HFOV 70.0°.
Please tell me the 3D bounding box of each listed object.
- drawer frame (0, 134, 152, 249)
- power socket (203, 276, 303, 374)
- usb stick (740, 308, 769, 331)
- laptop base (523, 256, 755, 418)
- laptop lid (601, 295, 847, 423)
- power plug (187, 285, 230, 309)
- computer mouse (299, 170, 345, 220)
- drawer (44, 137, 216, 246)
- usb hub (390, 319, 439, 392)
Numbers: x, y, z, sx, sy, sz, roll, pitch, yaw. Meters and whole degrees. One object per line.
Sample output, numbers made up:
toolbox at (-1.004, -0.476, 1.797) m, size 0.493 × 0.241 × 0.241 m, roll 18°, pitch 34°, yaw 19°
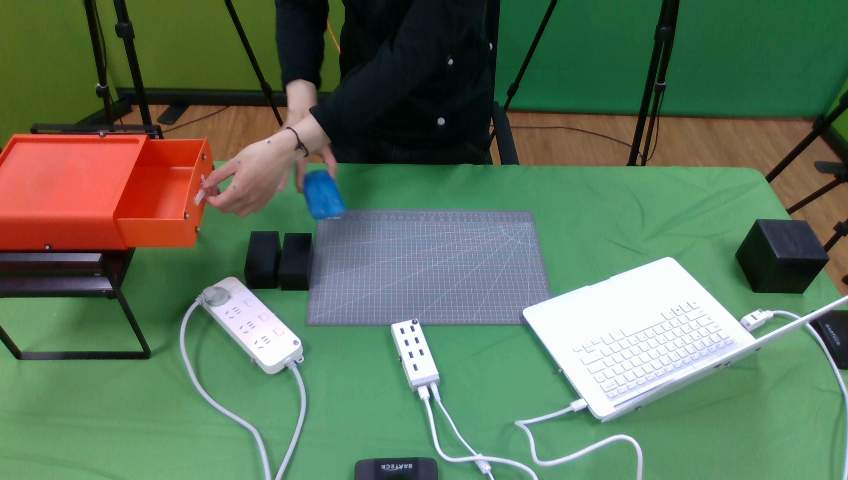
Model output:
drawer frame at (-0.547, -0.078, 0.942) m, size 0.214 × 0.083 × 0.200 m, roll -1°, pitch 47°, yaw -4°
power socket at (-0.296, 0.141, 1.034) m, size 0.072 × 0.033 × 0.225 m, roll -35°, pitch 58°, yaw -31°
usb stick at (0.587, 0.146, 1.087) m, size 0.059 × 0.027 × 0.021 m, roll -21°, pitch 47°, yaw -17°
laptop base at (0.381, 0.159, 1.077) m, size 0.355 × 0.023 × 0.234 m, roll -17°, pitch 48°, yaw -19°
laptop lid at (0.449, 0.180, 0.905) m, size 0.357 × 0.242 × 0.013 m, roll -17°, pitch 64°, yaw -20°
power plug at (-0.370, 0.103, 1.039) m, size 0.072 × 0.053 × 0.035 m, roll -25°, pitch 53°, yaw -23°
computer mouse at (-0.193, -0.089, 1.141) m, size 0.063 × 0.041 × 0.116 m, roll -17°, pitch 54°, yaw -16°
drawer at (-0.452, -0.079, 0.952) m, size 0.212 × 0.073 × 0.193 m, roll -1°, pitch 47°, yaw -4°
usb hub at (-0.016, 0.190, 1.013) m, size 0.049 × 0.025 × 0.124 m, roll -10°, pitch 48°, yaw -15°
